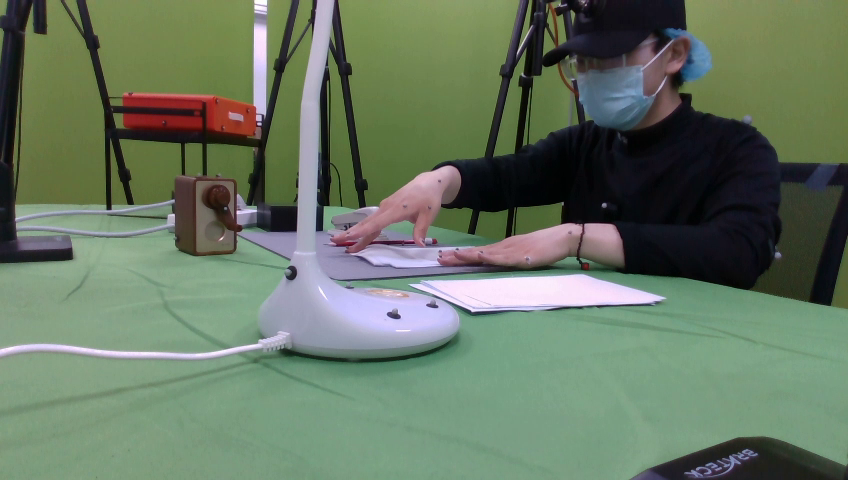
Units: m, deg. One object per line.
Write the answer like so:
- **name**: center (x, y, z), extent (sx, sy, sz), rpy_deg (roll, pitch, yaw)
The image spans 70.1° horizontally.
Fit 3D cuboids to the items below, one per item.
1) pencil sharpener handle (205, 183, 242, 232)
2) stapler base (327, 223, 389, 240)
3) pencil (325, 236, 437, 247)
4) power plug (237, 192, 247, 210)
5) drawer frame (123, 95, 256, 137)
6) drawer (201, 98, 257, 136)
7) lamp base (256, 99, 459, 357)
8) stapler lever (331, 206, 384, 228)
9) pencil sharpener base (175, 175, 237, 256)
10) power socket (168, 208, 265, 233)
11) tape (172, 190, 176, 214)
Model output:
- **pencil sharpener handle**: center (-0.265, -0.043, 0.813), extent (0.036, 0.068, 0.030), rpy_deg (-32, 28, -35)
- **stapler base**: center (-0.117, -0.018, 1.073), extent (0.130, 0.024, 0.041), rpy_deg (7, 7, 41)
- **pencil**: center (-0.066, 0.003, 0.979), extent (0.195, 0.012, 0.012), rpy_deg (-3, 9, -25)
- **power plug**: center (-0.386, -0.071, 1.204), extent (0.072, 0.052, 0.035), rpy_deg (7, 8, 26)
- **drawer frame**: center (-0.524, -0.281, 1.376), extent (0.213, 0.082, 0.202), rpy_deg (3, 8, 8)
- **drawer**: center (-0.518, -0.279, 1.376), extent (0.211, 0.073, 0.195), rpy_deg (3, 8, 10)
- **lamp base**: center (-0.055, -0.013, 0.463), extent (0.160, 0.180, 0.180), rpy_deg (6, 11, 27)
- **stapler lever**: center (-0.118, -0.043, 1.070), extent (0.117, 0.040, 0.027), rpy_deg (7, 7, 41)
- **pencil sharpener base**: center (-0.304, -0.035, 0.847), extent (0.062, 0.107, 0.076), rpy_deg (-4, 10, -42)
- **power socket**: center (-0.381, -0.038, 1.129), extent (0.072, 0.032, 0.227), rpy_deg (4, 8, 17)
- **tape**: center (-0.515, -0.087, 1.388), extent (0.117, 0.052, 0.117), rpy_deg (3, 7, 0)
